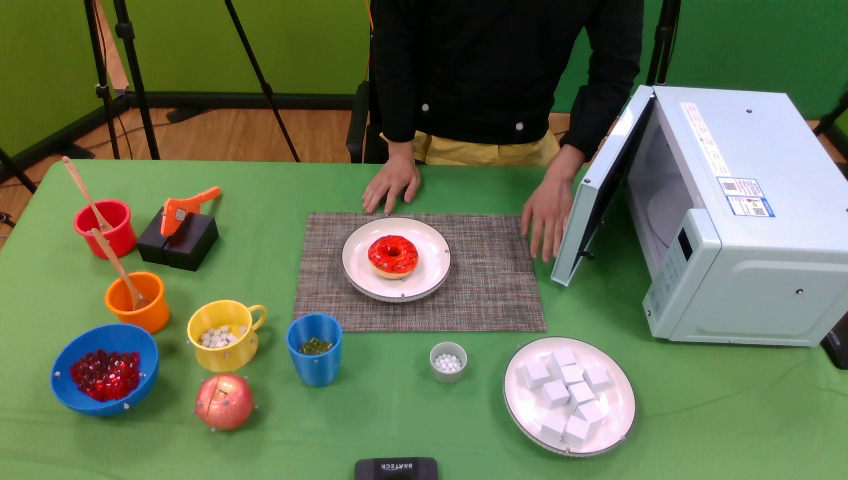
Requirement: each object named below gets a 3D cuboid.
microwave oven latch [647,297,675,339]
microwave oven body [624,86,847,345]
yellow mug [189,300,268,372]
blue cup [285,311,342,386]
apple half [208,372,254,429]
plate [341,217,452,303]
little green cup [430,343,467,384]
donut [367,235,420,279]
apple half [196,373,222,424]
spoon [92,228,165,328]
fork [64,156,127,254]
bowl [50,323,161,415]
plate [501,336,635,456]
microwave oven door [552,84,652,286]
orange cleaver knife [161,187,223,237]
[{"bbox_3d":[0.413,0.134,1.061,0.030,0.029,0.078,5,45,2],"label":"microwave oven latch"},{"bbox_3d":[0.567,-0.053,1.118,0.326,0.261,0.439,2,45,-1],"label":"microwave oven body"},{"bbox_3d":[-0.315,0.149,1.001,0.131,0.064,0.099,-32,55,-31],"label":"yellow mug"},{"bbox_3d":[-0.170,0.180,0.958,0.093,0.101,0.092,2,44,-1],"label":"blue cup"},{"bbox_3d":[-0.282,0.244,0.908,0.053,0.075,0.080,7,43,-1],"label":"apple half"},{"bbox_3d":[-0.052,0.039,1.140,0.209,0.038,0.208,2,46,-2],"label":"plate"},{"bbox_3d":[0.039,0.203,0.994,0.061,0.039,0.061,2,46,-2],"label":"little green cup"},{"bbox_3d":[-0.057,0.032,1.132,0.099,0.048,0.098,3,45,-3],"label":"donut"},{"bbox_3d":[-0.322,0.239,0.906,0.033,0.081,0.081,7,46,0],"label":"apple half"},{"bbox_3d":[-0.496,0.063,1.014,0.041,0.194,0.021,-33,12,-31],"label":"spoon"},{"bbox_3d":[-0.614,-0.064,1.130,0.028,0.018,0.207,-29,97,-16],"label":"fork"},{"bbox_3d":[-0.472,0.209,0.924,0.151,0.077,0.150,2,45,-2],"label":"bowl"},{"bbox_3d":[0.225,0.248,0.963,0.208,0.039,0.206,2,46,-2],"label":"plate"},{"bbox_3d":[0.344,-0.112,1.153,0.039,0.245,0.355,24,49,18],"label":"microwave oven door"},{"bbox_3d":[-0.448,-0.058,1.180,0.012,0.077,0.211,13,17,6],"label":"orange cleaver knife"}]
